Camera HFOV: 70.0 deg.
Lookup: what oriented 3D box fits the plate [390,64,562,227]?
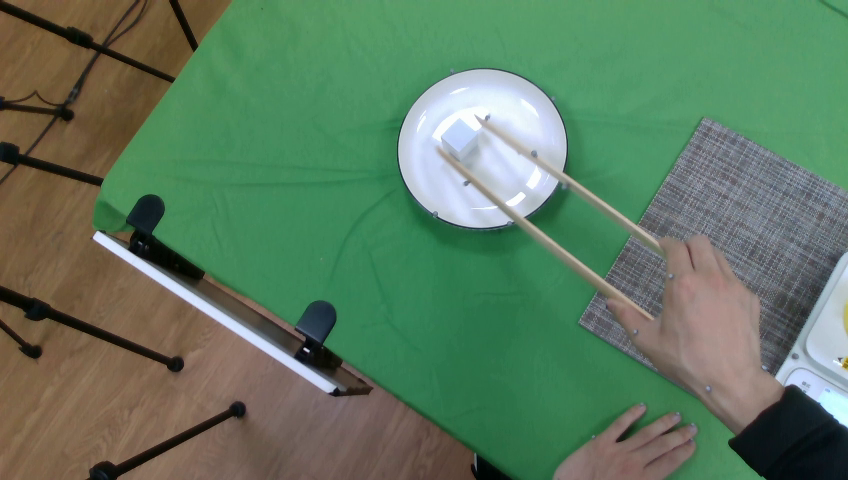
[{"bbox_3d":[0.064,-0.114,0.749,0.207,0.039,0.206,-1,79,5],"label":"plate"}]

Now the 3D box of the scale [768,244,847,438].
[{"bbox_3d":[0.489,0.116,0.662,0.148,0.032,0.200,31,84,11],"label":"scale"}]

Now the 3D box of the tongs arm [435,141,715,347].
[{"bbox_3d":[0.125,-0.013,0.624,0.028,0.028,0.383,-40,50,-7],"label":"tongs arm"}]

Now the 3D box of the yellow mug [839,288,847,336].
[{"bbox_3d":[0.491,0.089,0.619,0.099,0.064,0.130,21,83,9],"label":"yellow mug"}]

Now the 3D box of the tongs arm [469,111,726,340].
[{"bbox_3d":[0.152,-0.037,0.625,0.051,0.027,0.380,-43,50,-5],"label":"tongs arm"}]
